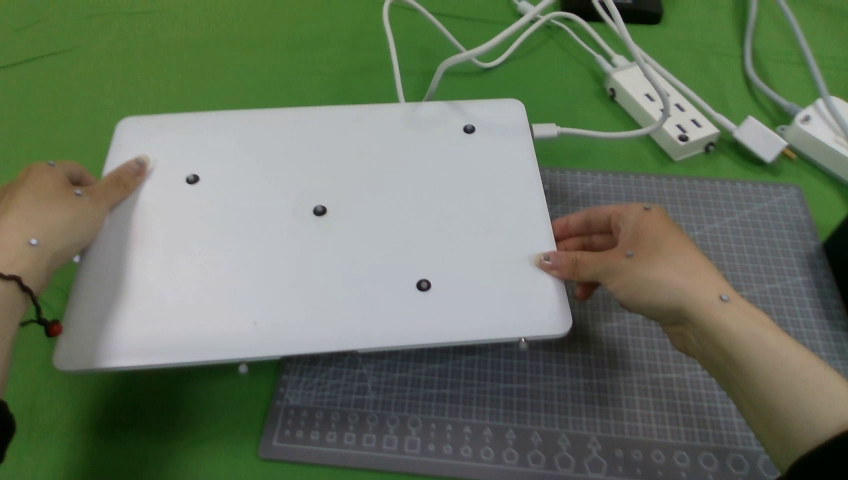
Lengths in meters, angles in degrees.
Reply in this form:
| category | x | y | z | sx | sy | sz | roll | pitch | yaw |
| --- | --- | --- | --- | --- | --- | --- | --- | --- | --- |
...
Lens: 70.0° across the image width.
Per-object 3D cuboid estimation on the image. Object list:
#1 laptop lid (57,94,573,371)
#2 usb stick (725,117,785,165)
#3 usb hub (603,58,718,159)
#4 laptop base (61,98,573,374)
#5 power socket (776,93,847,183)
| category | x | y | z | sx | sy | sz | roll | pitch | yaw |
| --- | --- | --- | --- | --- | --- | --- | --- | --- | --- |
| laptop lid | -0.079 | -0.021 | 0.467 | 0.357 | 0.013 | 0.239 | -2 | 58 | -2 |
| usb stick | 0.330 | -0.095 | 0.594 | 0.059 | 0.027 | 0.021 | 34 | 16 | 5 |
| usb hub | 0.241 | -0.139 | 0.626 | 0.049 | 0.025 | 0.124 | -20 | 56 | -14 |
| laptop base | -0.079 | -0.015 | 0.480 | 0.354 | 0.023 | 0.233 | -4 | 59 | -2 |
| power socket | 0.447 | -0.062 | 0.566 | 0.072 | 0.033 | 0.224 | -31 | 60 | -21 |
